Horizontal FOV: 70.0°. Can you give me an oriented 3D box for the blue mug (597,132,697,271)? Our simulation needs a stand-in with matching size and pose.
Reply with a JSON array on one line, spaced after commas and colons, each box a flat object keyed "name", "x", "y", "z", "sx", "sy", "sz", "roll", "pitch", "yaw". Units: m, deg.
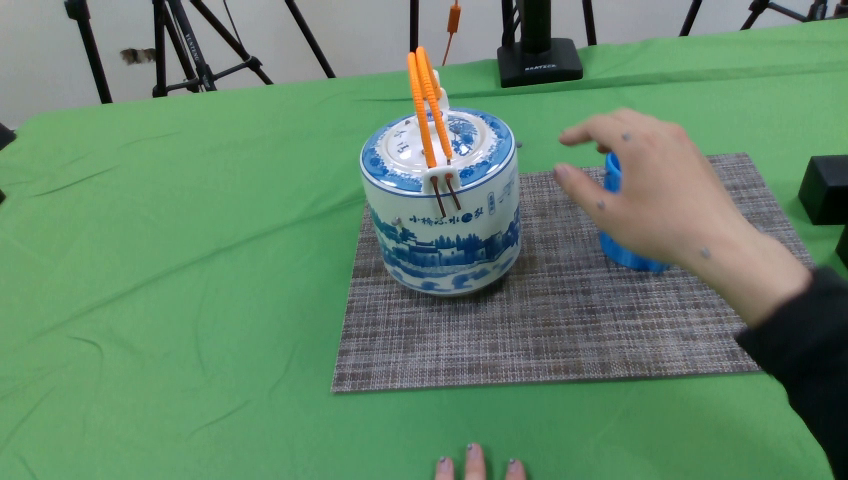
[{"name": "blue mug", "x": 0.211, "y": -0.027, "z": 0.572, "sx": 0.082, "sy": 0.107, "sz": 0.115, "roll": -5, "pitch": 42, "yaw": 7}]

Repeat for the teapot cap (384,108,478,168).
[{"name": "teapot cap", "x": 0.006, "y": -0.093, "z": 0.539, "sx": 0.085, "sy": 0.044, "sz": 0.084, "roll": -3, "pitch": 40, "yaw": 3}]

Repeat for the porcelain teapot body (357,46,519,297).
[{"name": "porcelain teapot body", "x": 0.010, "y": -0.082, "z": 0.585, "sx": 0.145, "sy": 0.227, "sz": 0.203, "roll": -10, "pitch": 41, "yaw": 1}]
